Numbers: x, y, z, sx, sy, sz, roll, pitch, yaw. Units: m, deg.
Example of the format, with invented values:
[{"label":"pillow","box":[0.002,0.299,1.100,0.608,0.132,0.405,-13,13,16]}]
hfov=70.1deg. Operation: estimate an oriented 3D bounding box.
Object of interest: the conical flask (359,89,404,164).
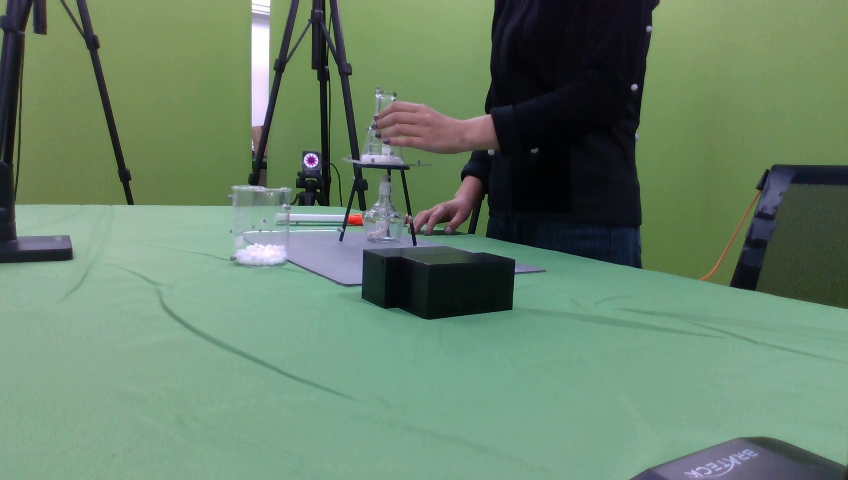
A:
[{"label":"conical flask","box":[-0.068,-0.189,1.011,0.075,0.122,0.075,4,6,0]}]

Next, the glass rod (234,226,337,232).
[{"label":"glass rod","box":[-0.255,-0.022,1.136,0.201,0.008,0.008,-3,8,-33]}]

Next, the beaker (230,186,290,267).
[{"label":"beaker","box":[-0.209,-0.019,0.778,0.074,0.100,0.084,3,6,4]}]

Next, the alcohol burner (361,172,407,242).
[{"label":"alcohol burner","box":[-0.067,-0.056,1.030,0.078,0.119,0.078,3,9,0]}]

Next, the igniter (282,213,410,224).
[{"label":"igniter","box":[-0.159,-0.046,1.287,0.278,0.025,0.057,-1,-3,-21]}]

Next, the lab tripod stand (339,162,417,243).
[{"label":"lab tripod stand","box":[-0.067,-0.065,1.027,0.148,0.131,0.148,4,7,0]}]

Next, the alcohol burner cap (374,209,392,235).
[{"label":"alcohol burner cap","box":[-0.078,-0.035,1.148,0.034,0.048,0.034,3,8,0]}]

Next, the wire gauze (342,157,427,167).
[{"label":"wire gauze","box":[-0.065,-0.130,1.017,0.122,0.011,0.124,1,5,-27]}]
